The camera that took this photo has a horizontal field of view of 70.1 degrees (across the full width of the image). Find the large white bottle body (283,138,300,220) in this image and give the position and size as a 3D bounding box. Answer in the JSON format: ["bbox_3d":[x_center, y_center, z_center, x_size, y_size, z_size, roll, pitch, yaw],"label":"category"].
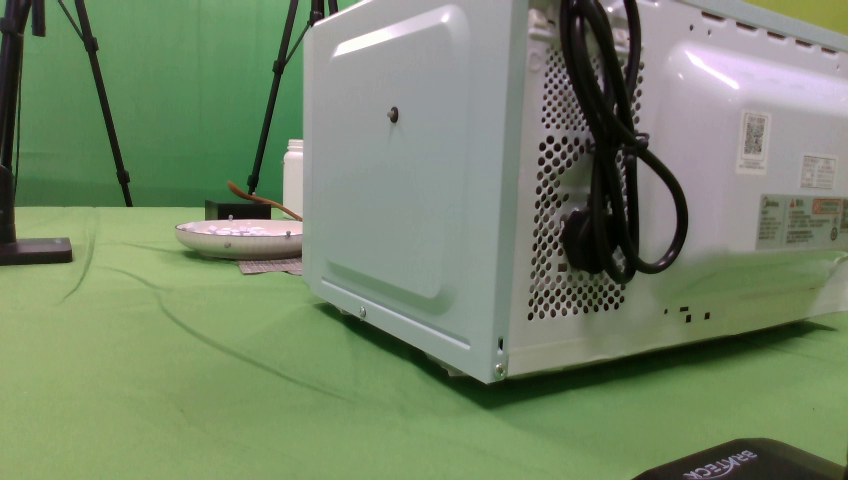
[{"bbox_3d":[-0.265,-0.143,1.423,0.131,0.184,0.130,2,7,0],"label":"large white bottle body"}]

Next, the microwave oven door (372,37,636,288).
[{"bbox_3d":[0.110,-0.080,0.686,0.358,0.243,0.039,-2,9,-33],"label":"microwave oven door"}]

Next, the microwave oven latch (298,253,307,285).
[{"bbox_3d":[-0.082,0.027,0.582,0.079,0.029,0.030,-2,7,-33],"label":"microwave oven latch"}]

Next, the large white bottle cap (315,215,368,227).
[{"bbox_3d":[-0.178,-0.041,1.308,0.115,0.018,0.115,2,6,0],"label":"large white bottle cap"}]

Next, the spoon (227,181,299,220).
[{"bbox_3d":[-0.315,-0.074,1.234,0.195,0.021,0.041,24,-9,-37],"label":"spoon"}]

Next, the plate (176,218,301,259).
[{"bbox_3d":[-0.248,-0.003,0.877,0.209,0.038,0.209,1,8,0],"label":"plate"}]

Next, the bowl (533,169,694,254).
[{"bbox_3d":[0.181,-0.030,0.595,0.151,0.077,0.151,1,7,0],"label":"bowl"}]

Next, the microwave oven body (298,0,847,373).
[{"bbox_3d":[0.151,-0.055,0.542,0.444,0.260,0.324,-1,7,-33],"label":"microwave oven body"}]
